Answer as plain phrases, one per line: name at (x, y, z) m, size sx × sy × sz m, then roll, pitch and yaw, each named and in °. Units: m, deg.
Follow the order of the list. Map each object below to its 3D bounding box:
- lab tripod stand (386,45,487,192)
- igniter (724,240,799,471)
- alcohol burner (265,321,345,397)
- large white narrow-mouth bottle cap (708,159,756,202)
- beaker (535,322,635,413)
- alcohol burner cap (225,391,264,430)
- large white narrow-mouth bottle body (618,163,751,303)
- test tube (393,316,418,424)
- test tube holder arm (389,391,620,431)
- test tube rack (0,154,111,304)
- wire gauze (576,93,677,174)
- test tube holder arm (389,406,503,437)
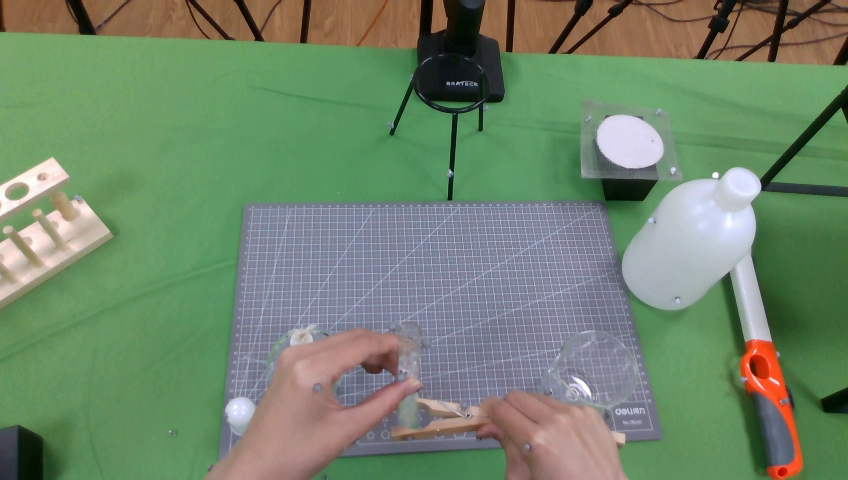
lab tripod stand at (0.024, -0.153, 0.738) m, size 0.148 × 0.132 × 0.147 m, roll 3°, pitch 62°, yaw -6°
igniter at (0.374, 0.117, 0.684) m, size 0.057 × 0.025 × 0.274 m, roll 10°, pitch 60°, yaw -12°
alcohol burner at (-0.116, 0.109, 0.586) m, size 0.078 × 0.120 × 0.077 m, roll 3°, pitch 60°, yaw -6°
large white narrow-mouth bottle cap at (0.292, -0.057, 0.577) m, size 0.038 × 0.024 × 0.037 m, roll 2°, pitch 61°, yaw -4°
beaker at (0.153, 0.136, 0.606) m, size 0.084 × 0.101 × 0.073 m, roll -4°, pitch 61°, yaw -7°
alcohol burner cap at (-0.177, 0.164, 0.590) m, size 0.034 × 0.048 × 0.033 m, roll 2°, pitch 62°, yaw -3°
large white narrow-mouth bottle body at (0.286, -0.013, 0.651) m, size 0.102 × 0.196 × 0.101 m, roll 2°, pitch 60°, yaw -3°
test tube at (-0.013, 0.099, 0.426) m, size 0.017 × 0.151 × 0.017 m, roll 1°, pitch 51°, yaw -1°
test tube holder arm at (0.062, 0.133, 0.471) m, size 0.178 × 0.015 × 0.013 m, roll 5°, pitch 59°, yaw 1°
test tube rack at (-0.462, 0.021, 0.619) m, size 0.242 × 0.086 × 0.066 m, roll -39°, pitch 71°, yaw -23°
wire gauze at (0.252, -0.134, 0.765) m, size 0.121 × 0.011 × 0.124 m, roll 6°, pitch 60°, yaw -2°
test tube holder arm at (0.018, 0.138, 0.467) m, size 0.088 × 0.015 × 0.010 m, roll -9°, pitch 59°, yaw -7°
